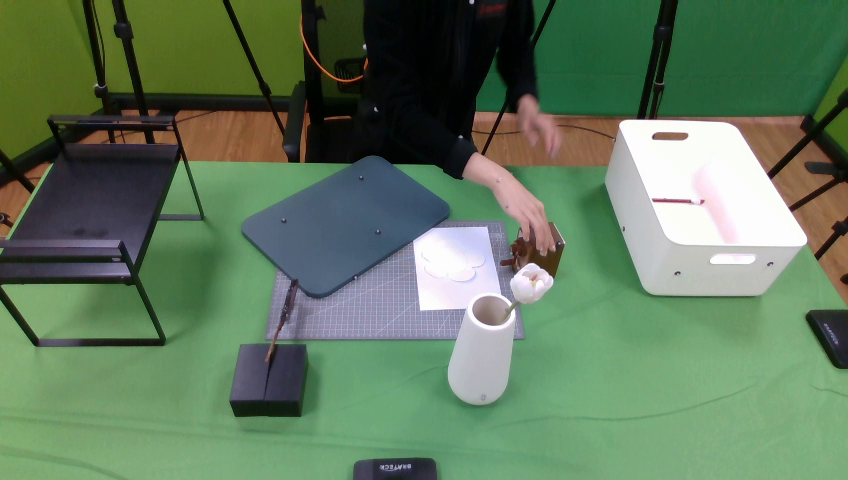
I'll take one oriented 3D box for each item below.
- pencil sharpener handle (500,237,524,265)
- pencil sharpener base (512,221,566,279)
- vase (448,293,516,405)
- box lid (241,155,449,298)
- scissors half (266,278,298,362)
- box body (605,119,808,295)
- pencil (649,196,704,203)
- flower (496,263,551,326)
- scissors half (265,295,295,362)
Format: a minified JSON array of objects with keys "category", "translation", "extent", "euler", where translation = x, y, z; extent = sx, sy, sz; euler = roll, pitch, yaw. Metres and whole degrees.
[{"category":"pencil sharpener handle","translation":[0.159,0.024,1.111],"extent":[0.031,0.068,0.035],"euler":[-9,54,-12]},{"category":"pencil sharpener base","translation":[0.209,0.025,1.130],"extent":[0.077,0.107,0.061],"euler":[-9,48,-12]},{"category":"vase","translation":[0.091,0.169,0.921],"extent":[0.098,0.201,0.097],"euler":[3,47,-3]},{"category":"box lid","translation":[-0.157,-0.043,1.234],"extent":[0.371,0.015,0.262],"euler":[-34,56,-31]},{"category":"scissors half","translation":[-0.234,0.127,0.993],"extent":[0.013,0.040,0.174],"euler":[12,46,-4]},{"category":"box body","translation":[0.529,-0.068,1.205],"extent":[0.254,0.161,0.361],"euler":[1,46,-4]},{"category":"pencil","translation":[0.513,-0.090,1.322],"extent":[0.194,0.012,0.012],"euler":[3,46,0]},{"category":"flower","translation":[0.102,0.120,0.853],"extent":[0.044,0.363,0.038],"euler":[-1,64,-10]},{"category":"scissors half","translation":[-0.239,0.143,1.005],"extent":[0.013,0.040,0.174],"euler":[17,28,-7]}]
